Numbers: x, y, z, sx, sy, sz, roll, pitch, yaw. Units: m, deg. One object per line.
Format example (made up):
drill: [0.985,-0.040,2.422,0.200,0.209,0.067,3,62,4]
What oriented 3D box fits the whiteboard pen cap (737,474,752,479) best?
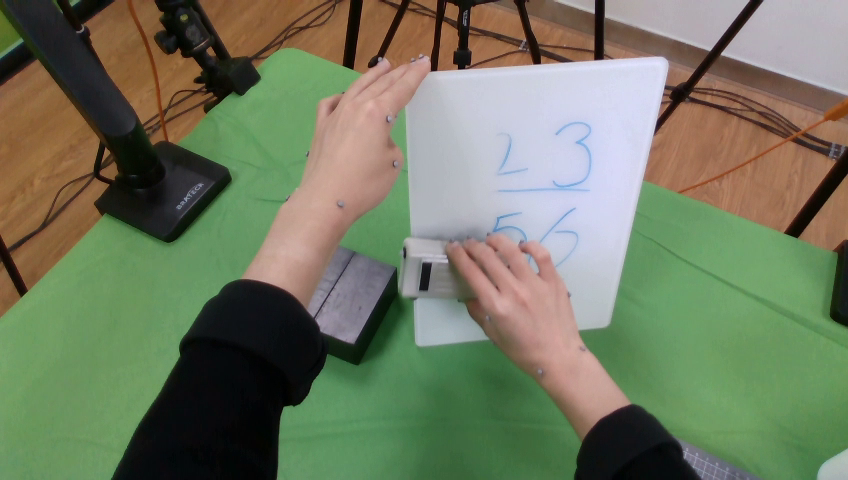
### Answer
whiteboard pen cap: [0.306,0.237,0.564,0.018,0.018,0.033,-26,60,-18]

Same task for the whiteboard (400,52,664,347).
whiteboard: [0.084,-0.058,0.620,0.217,0.308,0.142,-5,37,-5]

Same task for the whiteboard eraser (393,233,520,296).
whiteboard eraser: [0.030,0.022,0.564,0.113,0.056,0.041,2,31,-13]

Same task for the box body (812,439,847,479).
box body: [0.531,0.279,0.460,0.254,0.162,0.360,-16,58,-13]

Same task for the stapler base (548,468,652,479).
stapler base: [0.151,0.234,0.557,0.130,0.024,0.041,-7,52,-3]

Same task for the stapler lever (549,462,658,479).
stapler lever: [0.149,0.220,0.537,0.118,0.040,0.026,-7,52,-3]
